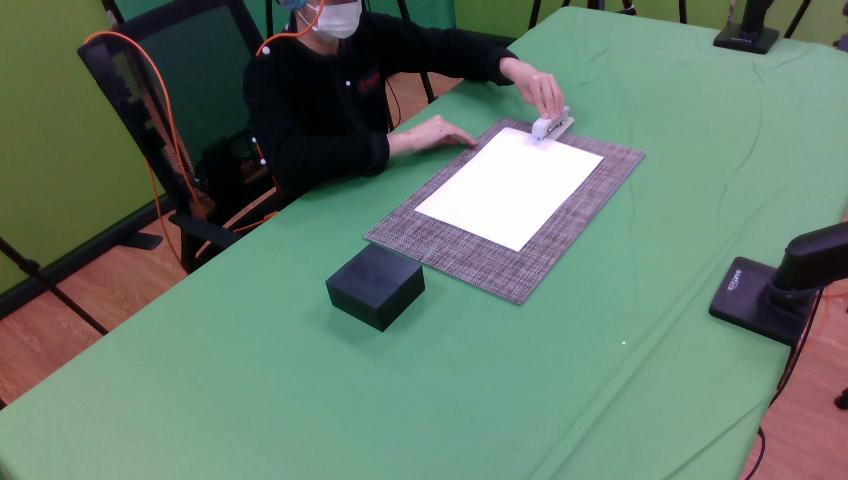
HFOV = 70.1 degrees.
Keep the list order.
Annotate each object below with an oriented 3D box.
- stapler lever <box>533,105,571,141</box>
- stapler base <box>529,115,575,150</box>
[{"bbox_3d":[0.249,-0.234,1.173,0.026,0.040,0.118,23,53,28],"label":"stapler lever"},{"bbox_3d":[0.251,-0.219,1.185,0.041,0.024,0.131,23,47,28],"label":"stapler base"}]
